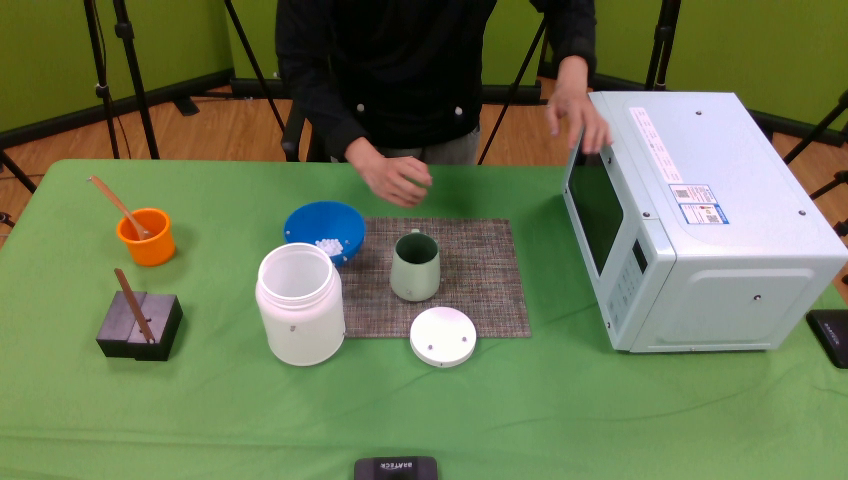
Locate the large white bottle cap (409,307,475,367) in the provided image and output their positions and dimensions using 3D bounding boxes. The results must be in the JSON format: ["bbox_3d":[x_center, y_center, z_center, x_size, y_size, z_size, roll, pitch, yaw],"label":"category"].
[{"bbox_3d":[0.031,0.165,1.041,0.115,0.018,0.114,2,47,-2],"label":"large white bottle cap"}]

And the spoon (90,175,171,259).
[{"bbox_3d":[-0.539,-0.042,1.112,0.021,0.194,0.041,-14,27,52],"label":"spoon"}]

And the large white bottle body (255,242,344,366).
[{"bbox_3d":[-0.196,0.102,0.967,0.131,0.185,0.130,2,49,-2],"label":"large white bottle body"}]

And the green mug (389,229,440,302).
[{"bbox_3d":[-0.017,0.038,1.100,0.092,0.105,0.124,0,46,-4],"label":"green mug"}]

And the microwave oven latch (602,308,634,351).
[{"bbox_3d":[0.332,0.153,1.044,0.030,0.029,0.078,-1,45,-4],"label":"microwave oven latch"}]

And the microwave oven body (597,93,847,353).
[{"bbox_3d":[0.475,-0.041,1.110,0.326,0.261,0.438,-1,45,-4],"label":"microwave oven body"}]

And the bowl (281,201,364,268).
[{"bbox_3d":[-0.187,0.005,1.138,0.151,0.077,0.150,3,46,-3],"label":"bowl"}]

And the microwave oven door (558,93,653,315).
[{"bbox_3d":[0.327,-0.074,1.123,0.039,0.245,0.353,-1,46,-5],"label":"microwave oven door"}]

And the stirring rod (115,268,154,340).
[{"bbox_3d":[-0.479,0.103,0.999,0.014,0.006,0.175,8,32,-49],"label":"stirring rod"}]
